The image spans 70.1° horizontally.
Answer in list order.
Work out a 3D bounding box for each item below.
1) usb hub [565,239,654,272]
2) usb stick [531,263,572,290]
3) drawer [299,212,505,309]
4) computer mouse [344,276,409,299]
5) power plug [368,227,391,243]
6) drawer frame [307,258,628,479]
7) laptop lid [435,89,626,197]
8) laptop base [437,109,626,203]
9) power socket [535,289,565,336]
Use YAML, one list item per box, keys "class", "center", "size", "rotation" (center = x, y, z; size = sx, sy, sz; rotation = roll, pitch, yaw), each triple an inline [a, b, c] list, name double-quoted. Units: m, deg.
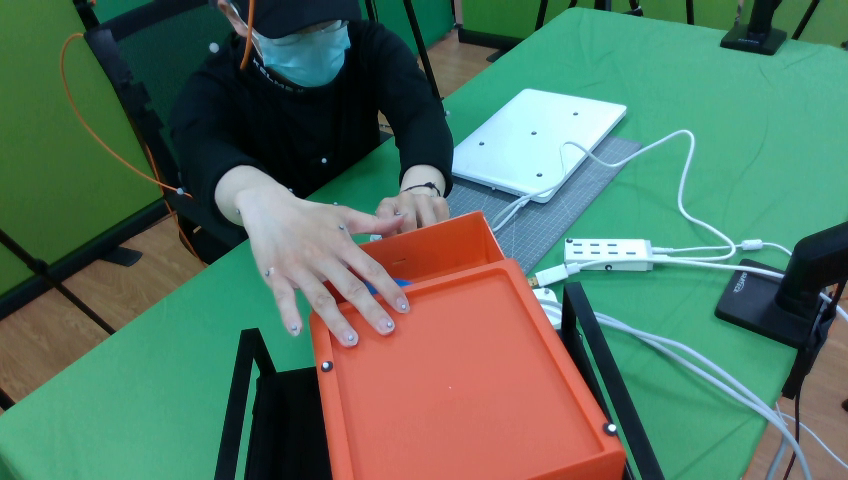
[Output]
- class: "usb hub"
  center: [0.275, 0.022, 0.906]
  size: [0.125, 0.025, 0.049]
  rotation: [1, 41, 9]
- class: "usb stick"
  center: [0.183, 0.056, 0.875]
  size: [0.059, 0.021, 0.027]
  rotation: [-30, 2, -6]
- class: "drawer"
  center: [-0.001, 0.083, 0.556]
  size: [0.195, 0.073, 0.210]
  rotation: [-15, 42, -8]
- class: "computer mouse"
  center: [-0.025, 0.070, 0.592]
  size: [0.117, 0.041, 0.063]
  rotation: [10, 40, 14]
- class: "power plug"
  center: [-0.065, 0.009, 0.956]
  size: [0.035, 0.053, 0.072]
  rotation: [-30, 55, 2]
- class: "drawer frame"
  center: [0.022, 0.128, 0.495]
  size: [0.202, 0.083, 0.212]
  rotation: [-14, 41, -9]
- class: "laptop lid"
  center: [0.211, -0.202, 1.165]
  size: [0.240, 0.013, 0.358]
  rotation: [21, 47, 32]
- class: "laptop base"
  center: [0.214, -0.193, 1.172]
  size: [0.233, 0.023, 0.355]
  rotation: [19, 46, 32]
- class: "power socket"
  center: [0.081, 0.112, 0.822]
  size: [0.227, 0.033, 0.072]
  rotation: [-7, 41, -1]
